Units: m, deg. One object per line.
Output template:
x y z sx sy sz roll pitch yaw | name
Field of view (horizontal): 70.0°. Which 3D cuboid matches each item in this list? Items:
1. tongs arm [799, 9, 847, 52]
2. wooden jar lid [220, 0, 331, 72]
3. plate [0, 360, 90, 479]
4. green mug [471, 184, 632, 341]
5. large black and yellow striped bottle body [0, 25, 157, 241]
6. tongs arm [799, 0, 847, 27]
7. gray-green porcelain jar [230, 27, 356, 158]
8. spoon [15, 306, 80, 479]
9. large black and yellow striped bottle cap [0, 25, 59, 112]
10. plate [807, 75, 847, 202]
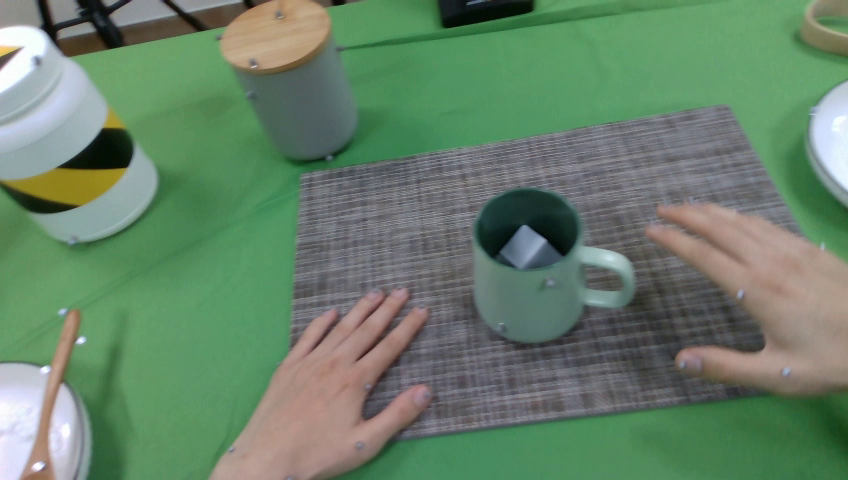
0.562 -0.159 0.571 0.384 0.028 0.028 25 70 25 | tongs arm
-0.141 -0.195 0.586 0.108 0.021 0.107 -4 56 7 | wooden jar lid
-0.358 0.195 0.471 0.209 0.038 0.207 -5 53 7 | plate
0.096 0.022 0.470 0.125 0.106 0.092 10 56 17 | green mug
-0.368 -0.100 0.597 0.130 0.186 0.129 -5 54 7 | large black and yellow striped bottle body
0.595 -0.221 0.605 0.383 0.027 0.050 13 62 20 | tongs arm
-0.131 -0.158 0.635 0.106 0.128 0.105 -5 53 7 | gray-green porcelain jar
-0.301 0.139 0.483 0.041 0.022 0.192 -7 62 4 | spoon
-0.381 -0.148 0.530 0.115 0.019 0.114 -5 52 7 | large black and yellow striped bottle cap
0.445 -0.076 0.526 0.207 0.039 0.205 -5 53 7 | plate
